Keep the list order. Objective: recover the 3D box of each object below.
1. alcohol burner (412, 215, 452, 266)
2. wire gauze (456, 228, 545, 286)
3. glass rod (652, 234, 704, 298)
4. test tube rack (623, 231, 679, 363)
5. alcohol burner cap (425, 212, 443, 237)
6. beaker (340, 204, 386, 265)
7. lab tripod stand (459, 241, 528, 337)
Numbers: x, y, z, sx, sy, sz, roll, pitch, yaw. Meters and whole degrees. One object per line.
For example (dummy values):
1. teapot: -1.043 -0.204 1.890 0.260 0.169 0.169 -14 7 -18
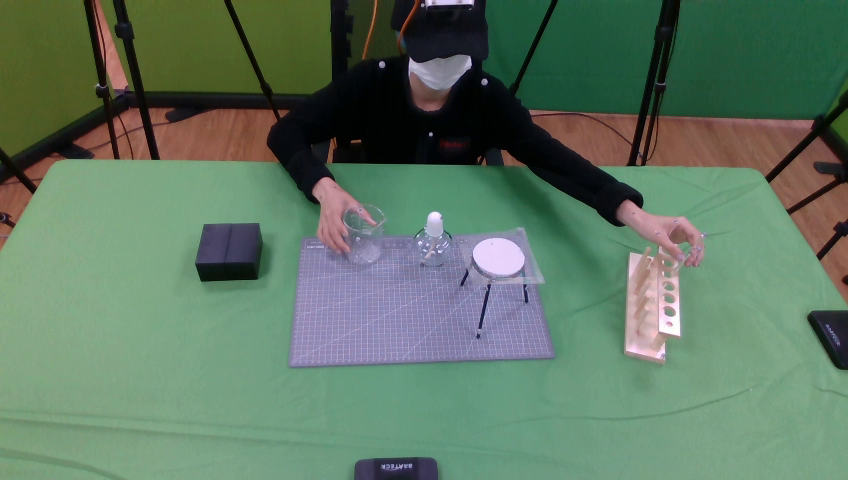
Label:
1. alcohol burner: 0.017 -0.006 1.139 0.078 0.119 0.077 2 48 -2
2. wire gauze: 0.126 0.029 1.006 0.125 0.011 0.120 -4 46 -10
3. glass rod: 0.437 0.049 1.049 0.008 0.200 0.008 3 55 -4
4. test tube rack: 0.410 0.094 1.096 0.066 0.085 0.241 13 47 9
5. alcohol burner cap: 0.019 -0.032 1.114 0.034 0.048 0.033 0 49 0
6. beaker: -0.114 -0.008 1.140 0.084 0.101 0.073 -2 46 -7
7. lab tripod stand: 0.122 0.075 1.054 0.148 0.132 0.147 3 44 -3
